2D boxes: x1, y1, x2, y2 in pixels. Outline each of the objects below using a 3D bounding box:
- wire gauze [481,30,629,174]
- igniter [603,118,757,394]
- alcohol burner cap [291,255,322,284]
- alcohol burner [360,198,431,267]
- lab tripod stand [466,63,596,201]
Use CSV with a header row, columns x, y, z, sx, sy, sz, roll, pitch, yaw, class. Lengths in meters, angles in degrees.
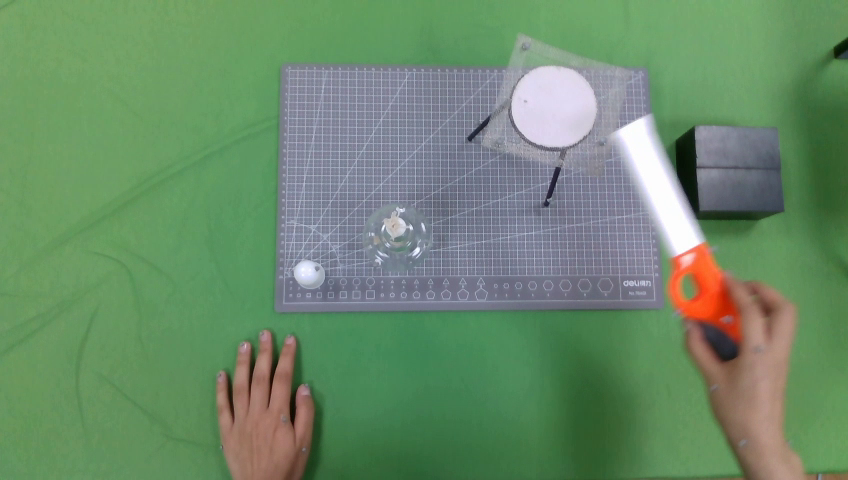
x,y,z,sx,sy,sz,roll,pitch,yaw,class
0.131,-0.136,0.599,0.121,0.011,0.124,18,80,0,wire gauze
0.241,0.018,0.563,0.057,0.025,0.277,-28,95,-2,igniter
-0.132,0.031,0.674,0.034,0.048,0.033,1,81,-4,alcohol burner cap
-0.031,-0.010,0.650,0.078,0.119,0.077,0,83,-2,alcohol burner
0.126,-0.128,0.665,0.148,0.132,0.148,1,79,-3,lab tripod stand
